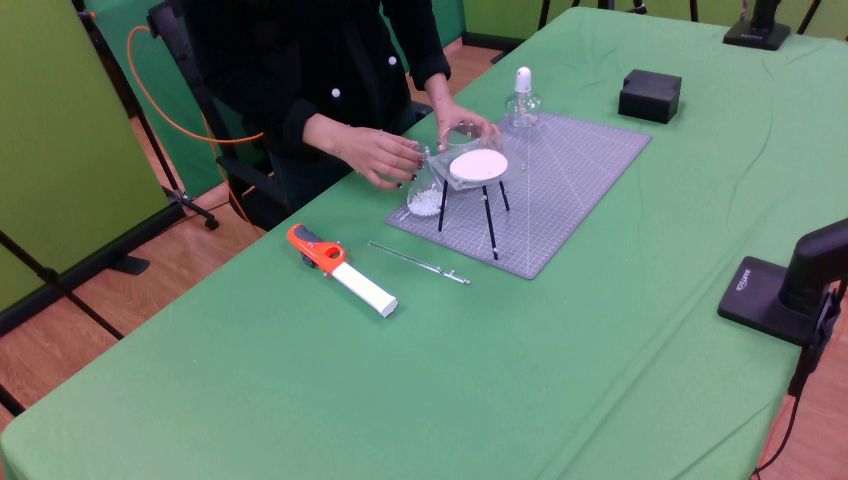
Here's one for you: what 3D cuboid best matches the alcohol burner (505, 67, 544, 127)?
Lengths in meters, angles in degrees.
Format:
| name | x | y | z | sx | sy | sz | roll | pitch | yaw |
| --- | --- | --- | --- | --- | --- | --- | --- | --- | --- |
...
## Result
| name | x | y | z | sx | sy | sz | roll | pitch | yaw |
| --- | --- | --- | --- | --- | --- | --- | --- | --- | --- |
| alcohol burner | 0.201 | -0.288 | 1.211 | 0.078 | 0.119 | 0.077 | -6 | 38 | 5 |

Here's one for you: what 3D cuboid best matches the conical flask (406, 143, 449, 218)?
| name | x | y | z | sx | sy | sz | roll | pitch | yaw |
| --- | --- | --- | --- | --- | --- | --- | --- | --- | --- |
| conical flask | -0.001 | -0.104 | 1.024 | 0.075 | 0.122 | 0.075 | -6 | 40 | 5 |

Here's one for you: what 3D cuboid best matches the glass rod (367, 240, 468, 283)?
| name | x | y | z | sx | sy | sz | roll | pitch | yaw |
| --- | --- | --- | --- | --- | --- | --- | --- | --- | --- |
| glass rod | -0.014 | 0.032 | 0.960 | 0.198 | 0.008 | 0.008 | 21 | 49 | 31 |

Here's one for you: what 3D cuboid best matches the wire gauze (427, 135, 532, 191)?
| name | x | y | z | sx | sy | sz | roll | pitch | yaw |
| --- | --- | --- | --- | --- | --- | --- | --- | --- | --- |
| wire gauze | 0.081 | -0.115 | 0.909 | 0.125 | 0.011 | 0.120 | -18 | 39 | -11 |

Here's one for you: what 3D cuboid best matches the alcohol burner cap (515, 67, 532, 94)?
| name | x | y | z | sx | sy | sz | roll | pitch | yaw |
| --- | --- | --- | --- | --- | --- | --- | --- | --- | --- |
| alcohol burner cap | 0.197 | -0.315 | 1.187 | 0.034 | 0.048 | 0.033 | -3 | 46 | 3 |

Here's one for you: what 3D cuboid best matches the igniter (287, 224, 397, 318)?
| name | x | y | z | sx | sy | sz | roll | pitch | yaw |
| --- | --- | --- | --- | --- | --- | --- | --- | --- | --- |
| igniter | -0.139 | 0.042 | 0.958 | 0.057 | 0.025 | 0.274 | -42 | 49 | -19 |

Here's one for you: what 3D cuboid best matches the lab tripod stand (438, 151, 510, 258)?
| name | x | y | z | sx | sy | sz | roll | pitch | yaw |
| --- | --- | --- | --- | --- | --- | --- | --- | --- | --- |
| lab tripod stand | 0.087 | -0.064 | 0.952 | 0.148 | 0.132 | 0.147 | -6 | 38 | 5 |

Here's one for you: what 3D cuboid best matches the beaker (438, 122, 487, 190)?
| name | x | y | z | sx | sy | sz | roll | pitch | yaw |
| --- | --- | --- | --- | --- | --- | --- | --- | --- | --- |
| beaker | 0.072 | -0.147 | 1.080 | 0.084 | 0.101 | 0.073 | -5 | 40 | 7 |
